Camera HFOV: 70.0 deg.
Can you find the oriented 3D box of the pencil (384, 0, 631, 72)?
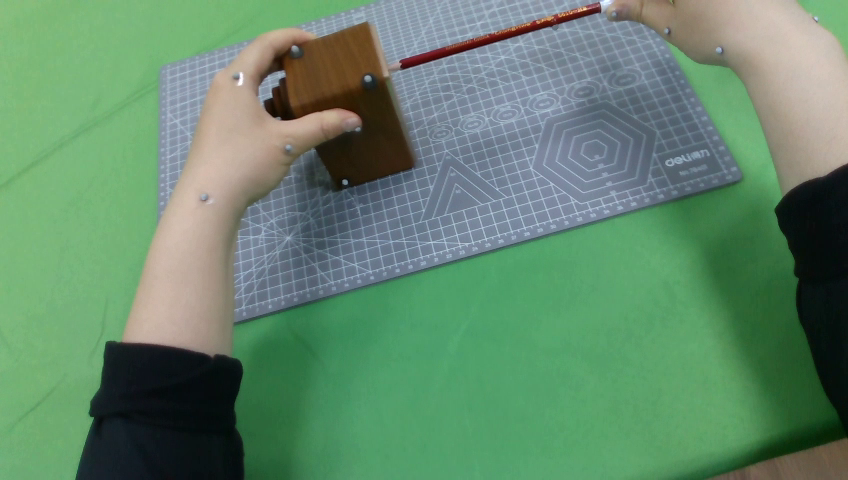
[{"bbox_3d":[0.059,-0.150,0.436,0.194,0.012,0.012,-17,61,1],"label":"pencil"}]

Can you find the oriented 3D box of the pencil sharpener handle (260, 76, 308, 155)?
[{"bbox_3d":[-0.110,-0.089,0.452,0.030,0.068,0.035,-18,59,2],"label":"pencil sharpener handle"}]

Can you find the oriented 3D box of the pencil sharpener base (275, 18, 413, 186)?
[{"bbox_3d":[-0.059,-0.099,0.461,0.077,0.108,0.061,-18,60,2],"label":"pencil sharpener base"}]
